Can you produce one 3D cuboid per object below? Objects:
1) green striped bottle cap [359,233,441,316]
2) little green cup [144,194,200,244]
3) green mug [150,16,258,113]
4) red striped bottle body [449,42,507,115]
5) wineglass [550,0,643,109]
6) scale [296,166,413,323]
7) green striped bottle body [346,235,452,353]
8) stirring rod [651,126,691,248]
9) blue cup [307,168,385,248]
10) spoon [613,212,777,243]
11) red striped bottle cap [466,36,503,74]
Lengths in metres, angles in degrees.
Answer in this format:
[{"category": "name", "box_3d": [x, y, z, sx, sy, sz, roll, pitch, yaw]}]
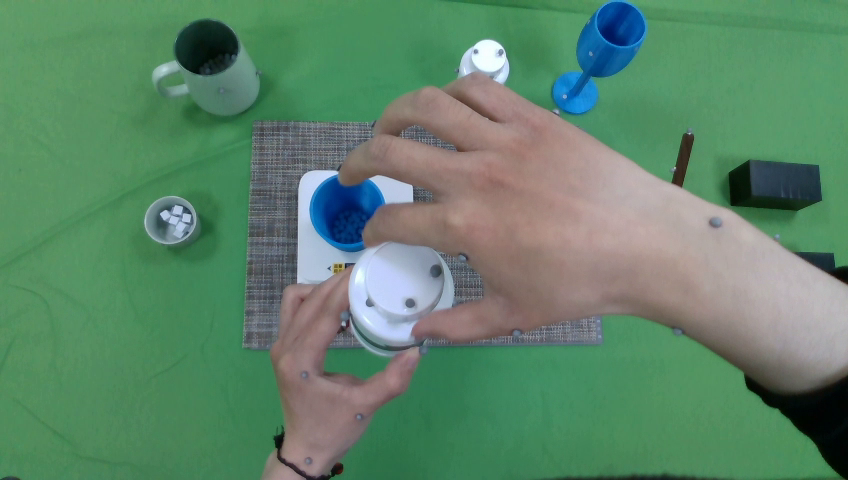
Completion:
[{"category": "green striped bottle cap", "box_3d": [-0.013, 0.019, 0.331, 0.044, 0.020, 0.044, 1, 80, -7]}, {"category": "little green cup", "box_3d": [-0.311, -0.024, 0.758, 0.061, 0.039, 0.061, 1, 77, -6]}, {"category": "green mug", "box_3d": [-0.281, -0.214, 0.768, 0.125, 0.105, 0.092, -22, 81, -9]}, {"category": "red striped bottle body", "box_3d": [0.070, -0.215, 0.790, 0.063, 0.120, 0.062, 1, 78, -5]}, {"category": "wineglass", "box_3d": [0.216, -0.236, 0.779, 0.074, 0.173, 0.073, 1, 77, -4]}, {"category": "scale", "box_3d": [-0.088, 0.003, 0.772, 0.149, 0.031, 0.200, -1, 79, -5]}, {"category": "green striped bottle body", "box_3d": [-0.018, 0.036, 0.387, 0.063, 0.119, 0.063, 2, 74, -6]}, {"category": "stirring rod", "box_3d": [0.310, -0.061, 0.764, 0.014, 0.177, 0.006, 5, 37, 10]}, {"category": "blue cup", "box_3d": [-0.089, -0.029, 0.711, 0.093, 0.100, 0.092, 1, 80, -5]}, {"category": "spoon", "box_3d": [0.330, -0.010, 0.755, 0.022, 0.192, 0.041, 20, 81, -45]}, {"category": "red striped bottle cap", "box_3d": [0.074, -0.226, 0.738, 0.044, 0.018, 0.044, 1, 75, -4]}]
